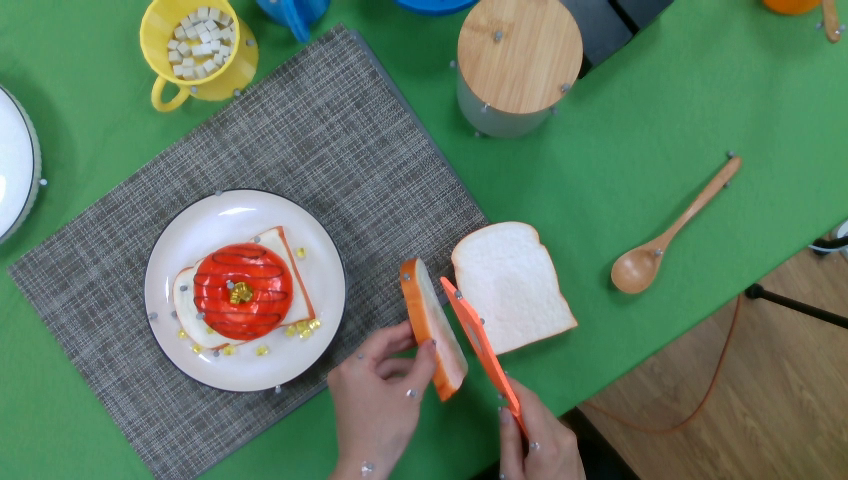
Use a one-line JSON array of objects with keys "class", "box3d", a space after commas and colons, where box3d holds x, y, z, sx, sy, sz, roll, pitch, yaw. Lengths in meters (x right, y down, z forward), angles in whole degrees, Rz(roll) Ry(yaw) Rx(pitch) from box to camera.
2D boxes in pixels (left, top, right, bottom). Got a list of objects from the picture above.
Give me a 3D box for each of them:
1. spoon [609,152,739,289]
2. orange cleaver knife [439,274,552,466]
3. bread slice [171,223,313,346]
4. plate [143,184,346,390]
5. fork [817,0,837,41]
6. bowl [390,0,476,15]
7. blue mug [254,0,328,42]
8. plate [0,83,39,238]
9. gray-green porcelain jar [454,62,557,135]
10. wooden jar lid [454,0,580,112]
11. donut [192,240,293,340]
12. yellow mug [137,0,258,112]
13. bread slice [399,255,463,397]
[{"class": "spoon", "box3d": [0.268, -0.022, 0.640, 0.193, 0.022, 0.041, -47, 71, 0]}, {"class": "orange cleaver knife", "box3d": [0.066, 0.123, 0.565, 0.012, 0.076, 0.213, -31, 112, -10]}, {"class": "bread slice", "box3d": [-0.195, 0.054, 0.635, 0.131, 0.019, 0.105, -23, 89, -3]}, {"class": "plate", "box3d": [-0.183, 0.048, 0.632, 0.209, 0.038, 0.209, 0, 90, 1]}, {"class": "fork", "box3d": [0.371, -0.243, 0.576, 0.028, 0.019, 0.206, 27, 46, -6]}, {"class": "bowl", "box3d": [0.009, -0.294, 0.616, 0.151, 0.077, 0.151, 0, 90, 1]}, {"class": "blue mug", "box3d": [-0.140, -0.257, 0.604, 0.082, 0.106, 0.116, -15, 89, 1]}, {"class": "plate", "box3d": [-0.506, -0.083, 0.640, 0.208, 0.039, 0.207, 0, 90, 1]}, {"class": "gray-green porcelain jar", "box3d": [0.082, -0.163, 0.591, 0.106, 0.126, 0.106, 0, 89, 0]}, {"class": "wooden jar lid", "box3d": [0.080, -0.164, 0.528, 0.108, 0.020, 0.108, 0, 91, -2]}, {"class": "donut", "box3d": [-0.180, 0.050, 0.604, 0.099, 0.048, 0.099, 0, 90, -3]}, {"class": "yellow mug", "box3d": [-0.239, -0.188, 0.624, 0.100, 0.064, 0.131, 33, 91, 2]}, {"class": "bread slice", "box3d": [0.008, 0.080, 0.603, 0.018, 0.107, 0.134, -20, 86, 6]}]
